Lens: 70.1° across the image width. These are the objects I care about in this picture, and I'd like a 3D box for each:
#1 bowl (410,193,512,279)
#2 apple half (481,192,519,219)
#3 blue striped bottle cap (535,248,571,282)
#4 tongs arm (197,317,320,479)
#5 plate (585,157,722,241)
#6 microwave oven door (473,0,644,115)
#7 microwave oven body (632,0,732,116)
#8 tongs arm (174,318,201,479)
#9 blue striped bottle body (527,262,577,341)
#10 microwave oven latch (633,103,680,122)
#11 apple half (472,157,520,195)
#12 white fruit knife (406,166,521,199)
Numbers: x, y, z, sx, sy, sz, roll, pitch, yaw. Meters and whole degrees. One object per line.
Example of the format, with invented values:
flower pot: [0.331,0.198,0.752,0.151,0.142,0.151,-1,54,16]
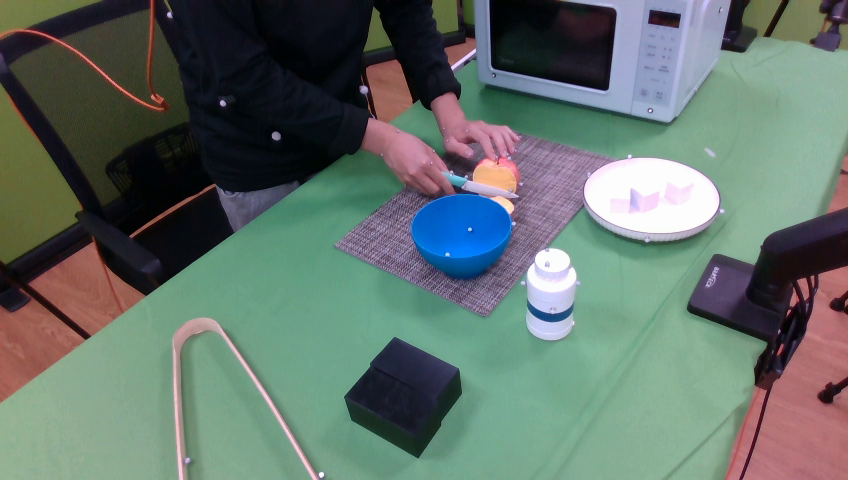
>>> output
bowl: [0.058,0.005,0.905,0.151,0.077,0.150,-4,40,4]
apple half: [0.117,-0.047,0.982,0.081,0.033,0.081,-5,34,4]
blue striped bottle cap: [0.161,0.031,0.753,0.044,0.021,0.044,-4,42,4]
tongs arm: [-0.199,0.206,0.750,0.028,0.028,0.384,-31,45,-22]
plate: [0.367,-0.063,0.979,0.207,0.039,0.206,-4,40,4]
microwave oven door: [0.257,-0.396,1.199,0.353,0.245,0.039,21,48,29]
microwave oven body: [0.377,-0.463,1.267,0.438,0.261,0.327,21,49,30]
tongs arm: [-0.272,0.234,0.723,0.051,0.026,0.381,-19,40,-14]
blue striped bottle body: [0.165,0.070,0.786,0.063,0.121,0.063,-4,41,4]
microwave oven latch: [0.444,-0.249,1.157,0.078,0.029,0.030,21,49,30]
apple half: [0.128,-0.107,1.031,0.080,0.075,0.053,8,35,22]
white fruit knife: [0.065,-0.098,1.032,0.206,0.027,0.016,15,47,15]
